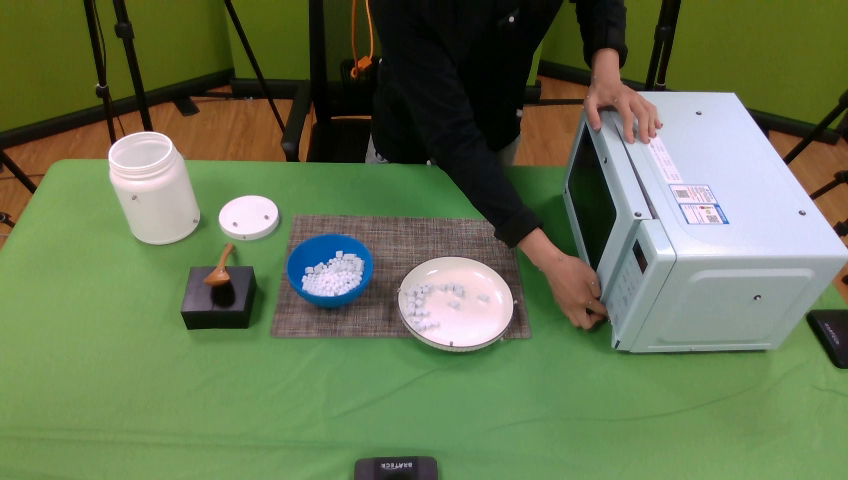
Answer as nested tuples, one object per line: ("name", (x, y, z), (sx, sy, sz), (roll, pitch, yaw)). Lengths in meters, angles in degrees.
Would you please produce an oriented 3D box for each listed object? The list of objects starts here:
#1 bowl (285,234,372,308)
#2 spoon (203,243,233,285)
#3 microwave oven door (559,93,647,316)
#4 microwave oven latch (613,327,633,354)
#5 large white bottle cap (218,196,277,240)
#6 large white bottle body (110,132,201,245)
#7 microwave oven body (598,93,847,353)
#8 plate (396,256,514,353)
("bowl", (-0.167, 0.068, 1.077), (0.151, 0.077, 0.150), (3, 46, -3))
("spoon", (-0.360, 0.039, 1.087), (0.041, 0.022, 0.192), (-5, 24, -7))
("microwave oven door", (0.321, -0.074, 1.123), (0.039, 0.245, 0.353), (1, 46, -3))
("microwave oven latch", (0.340, 0.156, 1.042), (0.030, 0.029, 0.079), (11, 46, 8))
("large white bottle cap", (-0.354, -0.045, 1.220), (0.115, 0.018, 0.114), (2, 45, -1))
("large white bottle body", (-0.506, -0.097, 1.141), (0.131, 0.185, 0.130), (2, 46, -2))
("microwave oven body", (0.476, -0.042, 1.109), (0.326, 0.261, 0.438), (-1, 45, -4))
("plate", (0.053, 0.116, 1.077), (0.209, 0.038, 0.208), (2, 46, -2))
